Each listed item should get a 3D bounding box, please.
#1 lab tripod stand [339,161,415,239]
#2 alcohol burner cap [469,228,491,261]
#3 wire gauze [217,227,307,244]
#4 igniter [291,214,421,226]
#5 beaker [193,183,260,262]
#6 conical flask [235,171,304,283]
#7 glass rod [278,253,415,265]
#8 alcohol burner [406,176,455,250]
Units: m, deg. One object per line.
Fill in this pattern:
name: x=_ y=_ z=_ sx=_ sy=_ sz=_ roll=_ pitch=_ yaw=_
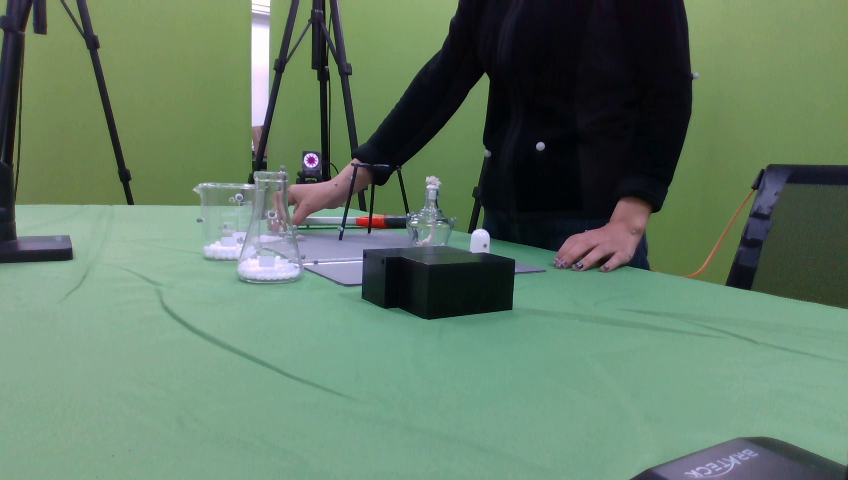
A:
lab tripod stand: x=-0.082 y=-0.070 z=1.059 sx=0.148 sy=0.131 sz=0.148 roll=4 pitch=6 yaw=0
alcohol burner cap: x=0.082 y=0.006 z=0.878 sx=0.034 sy=0.048 sz=0.034 roll=2 pitch=6 yaw=0
wire gauze: x=-0.272 y=-0.008 z=1.011 sx=0.122 sy=0.011 sz=0.124 roll=1 pitch=9 yaw=-32
igniter: x=-0.134 y=-0.041 z=1.249 sx=0.278 sy=0.025 sz=0.057 roll=-1 pitch=-3 yaw=-28
beaker: x=-0.262 y=-0.024 z=0.806 sx=0.084 sy=0.100 sz=0.073 roll=-3 pitch=9 yaw=-30
conical flask: x=-0.172 y=-0.016 z=0.677 sx=0.075 sy=0.122 sz=0.075 roll=2 pitch=7 yaw=0
glass rod: x=-0.097 y=0.024 z=0.805 sx=0.201 sy=0.008 sz=0.008 roll=-3 pitch=8 yaw=-33
alcohol burner: x=0.012 y=-0.044 z=0.963 sx=0.078 sy=0.119 sz=0.078 roll=4 pitch=7 yaw=0
